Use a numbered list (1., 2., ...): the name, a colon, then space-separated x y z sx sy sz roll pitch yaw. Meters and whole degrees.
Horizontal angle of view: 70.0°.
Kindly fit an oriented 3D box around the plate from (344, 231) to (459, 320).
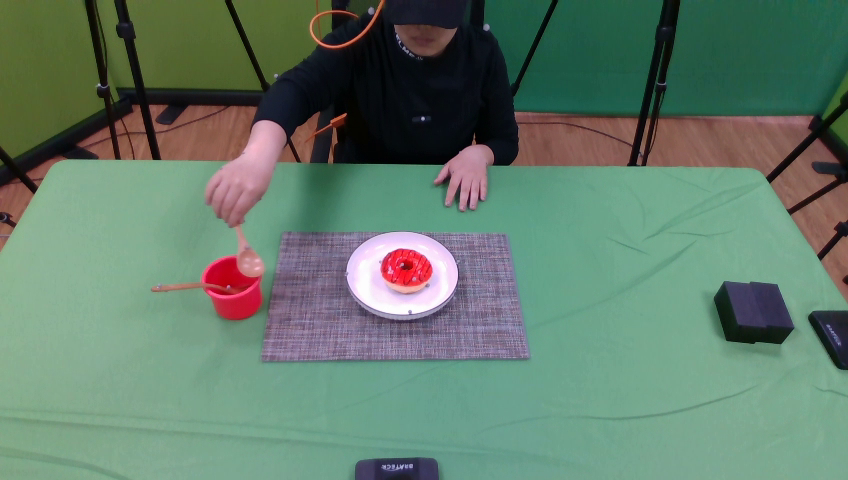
1. plate: -0.042 0.068 1.115 0.209 0.038 0.208 2 46 -2

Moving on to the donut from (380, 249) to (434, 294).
1. donut: -0.032 0.056 1.111 0.099 0.048 0.098 3 43 -3

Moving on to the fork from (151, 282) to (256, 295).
1. fork: -0.361 0.080 1.007 0.028 0.018 0.208 36 11 27

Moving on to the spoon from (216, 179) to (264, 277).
1. spoon: -0.319 -0.022 1.038 0.042 0.021 0.193 -15 77 -29
